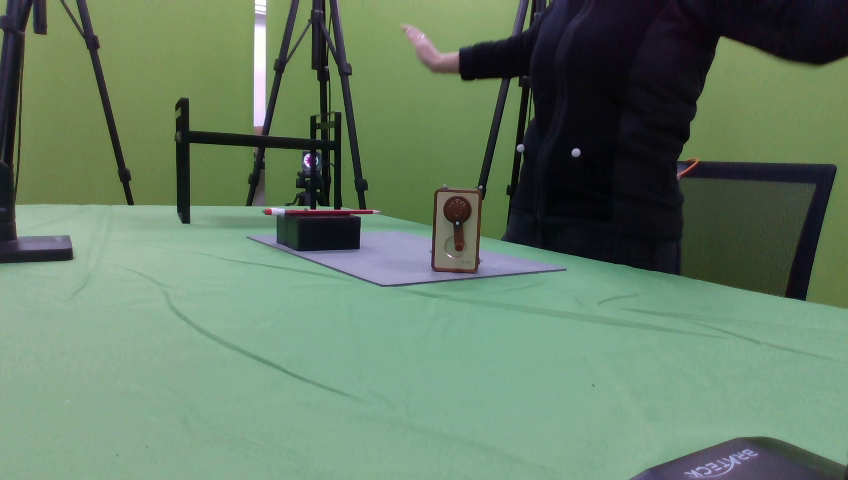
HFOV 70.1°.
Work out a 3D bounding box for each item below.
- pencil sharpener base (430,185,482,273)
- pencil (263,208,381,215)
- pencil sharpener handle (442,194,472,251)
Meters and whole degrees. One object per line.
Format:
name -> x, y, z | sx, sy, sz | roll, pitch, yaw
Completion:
pencil sharpener base -> 0.042, -0.016, 0.784 | 0.061, 0.107, 0.076 | 3, 8, 3
pencil -> -0.153, -0.045, 0.941 | 0.195, 0.012, 0.012 | -2, 9, -32
pencil sharpener handle -> 0.041, -0.021, 0.731 | 0.036, 0.067, 0.030 | -5, 7, 4
